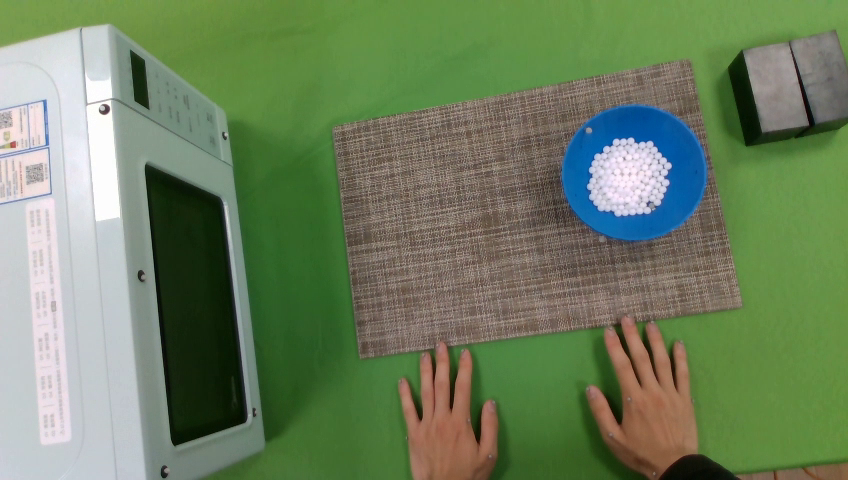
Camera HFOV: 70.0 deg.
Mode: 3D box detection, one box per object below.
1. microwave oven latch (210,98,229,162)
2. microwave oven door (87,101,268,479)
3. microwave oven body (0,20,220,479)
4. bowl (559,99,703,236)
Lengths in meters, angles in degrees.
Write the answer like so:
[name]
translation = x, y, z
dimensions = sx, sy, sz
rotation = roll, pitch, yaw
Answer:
[microwave oven latch]
translation = -0.270, -0.138, 0.771
dimensions = 0.030, 0.029, 0.079
rotation = -11, 82, 6
[microwave oven door]
translation = -0.251, 0.062, 0.641
dimensions = 0.039, 0.245, 0.354
rotation = -11, 81, 7
[microwave oven body]
translation = -0.399, 0.049, 0.668
dimensions = 0.326, 0.261, 0.440
rotation = -11, 82, 6
[bowl]
translation = 0.226, -0.074, 0.686
dimensions = 0.151, 0.077, 0.151
rotation = -1, 83, 8
